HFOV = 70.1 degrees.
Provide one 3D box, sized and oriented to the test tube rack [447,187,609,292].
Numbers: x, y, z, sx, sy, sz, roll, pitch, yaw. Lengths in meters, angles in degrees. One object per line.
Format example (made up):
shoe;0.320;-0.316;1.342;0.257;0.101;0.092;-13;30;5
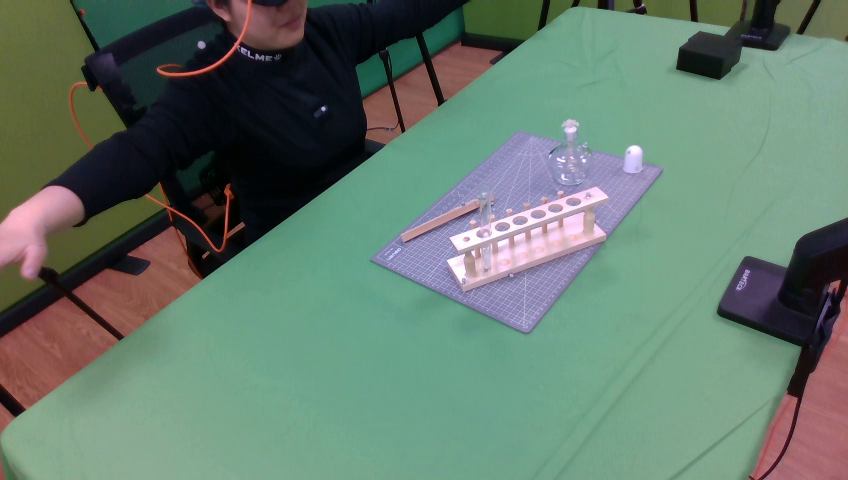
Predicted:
test tube rack;0.154;-0.011;0.913;0.243;0.085;0.066;-19;41;-11

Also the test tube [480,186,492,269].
test tube;0.088;-0.014;0.852;0.017;0.151;0.017;-3;42;3

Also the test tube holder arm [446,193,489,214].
test tube holder arm;0.078;-0.058;1.037;0.088;0.015;0.010;-26;9;-18

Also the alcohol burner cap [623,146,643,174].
alcohol burner cap;0.369;-0.143;1.061;0.034;0.048;0.033;-6;41;6

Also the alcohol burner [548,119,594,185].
alcohol burner;0.254;-0.155;1.043;0.078;0.120;0.077;-7;40;6

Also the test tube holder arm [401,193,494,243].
test tube holder arm;0.041;-0.039;1.018;0.179;0.015;0.013;-26;9;-18
